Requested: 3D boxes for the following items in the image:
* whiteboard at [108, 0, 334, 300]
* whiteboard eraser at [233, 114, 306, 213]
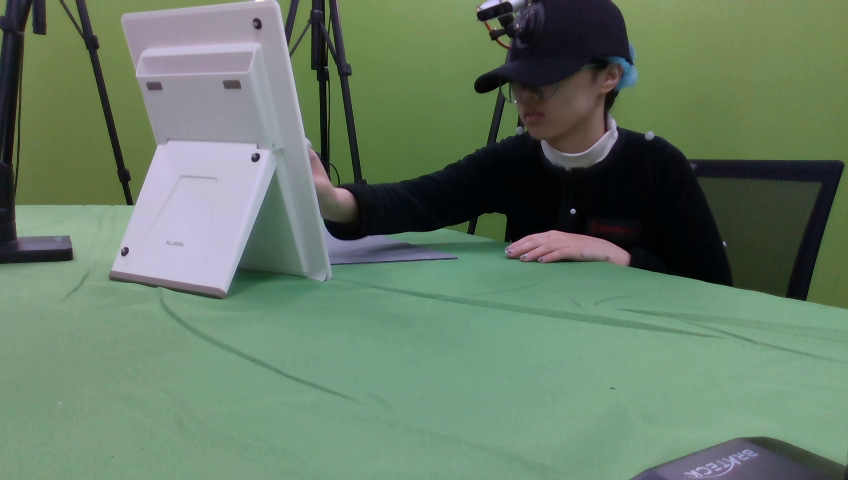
[{"bbox_3d":[-0.248,-0.072,0.624,0.216,0.305,0.144,6,28,26],"label":"whiteboard"},{"bbox_3d":[-0.180,-0.085,0.689,0.055,0.112,0.042,36,39,0],"label":"whiteboard eraser"}]
